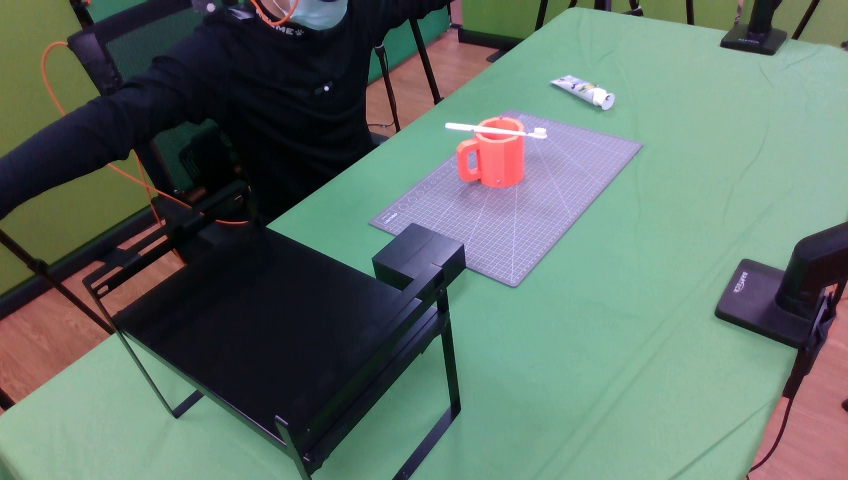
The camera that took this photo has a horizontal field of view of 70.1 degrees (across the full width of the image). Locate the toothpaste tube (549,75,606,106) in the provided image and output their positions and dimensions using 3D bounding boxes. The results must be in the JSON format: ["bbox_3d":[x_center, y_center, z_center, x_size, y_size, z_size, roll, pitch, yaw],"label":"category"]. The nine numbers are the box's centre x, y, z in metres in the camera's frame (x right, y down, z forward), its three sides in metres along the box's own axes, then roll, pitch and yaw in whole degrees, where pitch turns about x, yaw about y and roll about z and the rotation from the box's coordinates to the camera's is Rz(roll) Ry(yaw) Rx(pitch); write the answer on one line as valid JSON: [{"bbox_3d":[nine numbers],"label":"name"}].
[{"bbox_3d":[0.339,-0.324,1.299,0.055,0.034,0.163,-17,38,-21],"label":"toothpaste tube"}]

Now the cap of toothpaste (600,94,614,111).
[{"bbox_3d":[0.373,-0.283,1.238,0.037,0.037,0.011,-29,46,-23],"label":"cap of toothpaste"}]

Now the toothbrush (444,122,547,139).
[{"bbox_3d":[0.121,-0.190,1.034,0.181,0.017,0.014,10,46,18],"label":"toothbrush"}]

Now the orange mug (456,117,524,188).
[{"bbox_3d":[0.117,-0.152,1.071,0.127,0.101,0.083,-14,41,-14],"label":"orange mug"}]
